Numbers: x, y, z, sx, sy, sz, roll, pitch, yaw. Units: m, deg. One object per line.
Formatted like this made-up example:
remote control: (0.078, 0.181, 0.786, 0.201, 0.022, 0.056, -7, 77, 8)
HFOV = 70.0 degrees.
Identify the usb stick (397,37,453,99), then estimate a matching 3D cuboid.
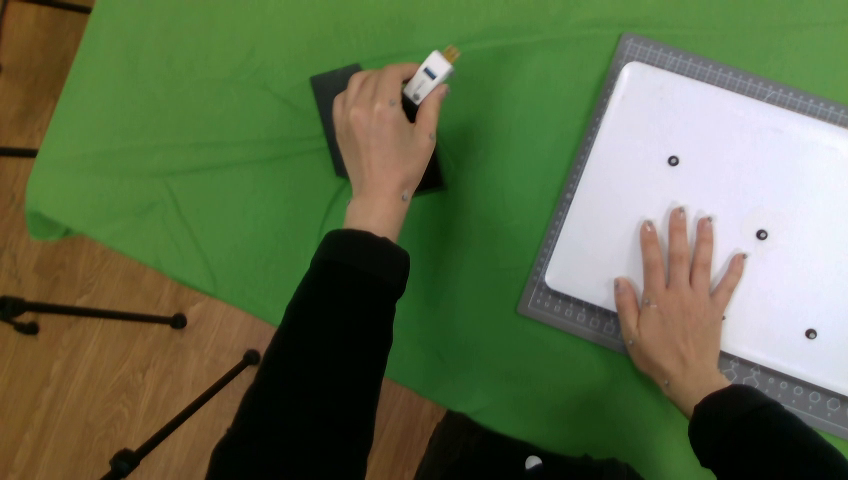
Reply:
usb stick: (0.003, -0.154, 0.535, 0.021, 0.027, 0.059, 40, 99, -6)

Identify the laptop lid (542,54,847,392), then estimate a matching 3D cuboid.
laptop lid: (0.315, -0.011, 0.574, 0.356, 0.013, 0.242, 22, 97, 5)

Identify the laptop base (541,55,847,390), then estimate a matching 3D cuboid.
laptop base: (0.317, -0.013, 0.584, 0.354, 0.023, 0.236, 20, 97, 5)
